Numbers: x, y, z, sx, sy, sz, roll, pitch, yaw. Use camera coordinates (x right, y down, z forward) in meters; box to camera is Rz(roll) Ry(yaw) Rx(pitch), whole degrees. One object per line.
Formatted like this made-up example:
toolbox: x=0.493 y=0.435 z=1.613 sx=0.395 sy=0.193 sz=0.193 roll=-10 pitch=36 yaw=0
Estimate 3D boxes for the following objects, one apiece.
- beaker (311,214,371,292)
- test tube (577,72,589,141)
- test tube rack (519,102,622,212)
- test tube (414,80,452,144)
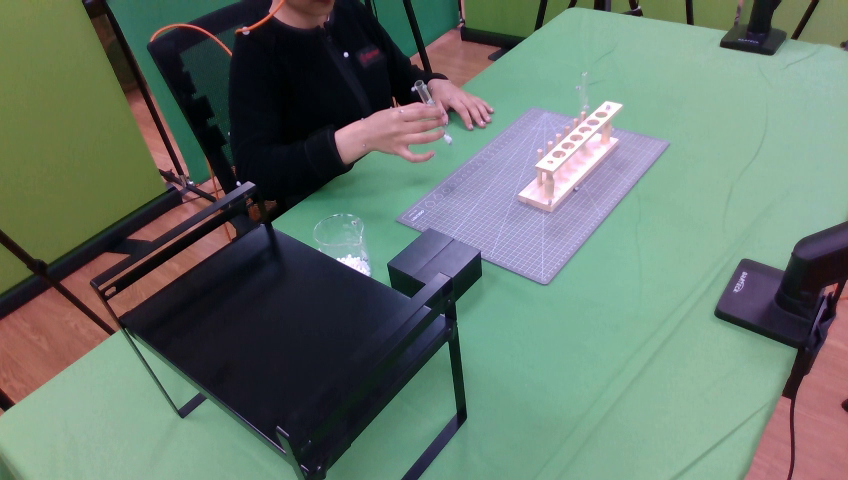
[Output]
beaker: x=-0.118 y=0.022 z=0.908 sx=0.083 sy=0.101 sz=0.074 roll=26 pitch=51 yaw=32
test tube: x=0.284 y=-0.233 z=1.084 sx=0.017 sy=0.151 sz=0.017 roll=-5 pitch=44 yaw=6
test tube rack: x=0.260 y=-0.155 z=1.065 sx=0.066 sy=0.085 sz=0.243 roll=25 pitch=50 yaw=32
test tube: x=0.019 y=-0.215 z=1.035 sx=0.017 sy=0.151 sz=0.017 roll=-12 pitch=55 yaw=18
